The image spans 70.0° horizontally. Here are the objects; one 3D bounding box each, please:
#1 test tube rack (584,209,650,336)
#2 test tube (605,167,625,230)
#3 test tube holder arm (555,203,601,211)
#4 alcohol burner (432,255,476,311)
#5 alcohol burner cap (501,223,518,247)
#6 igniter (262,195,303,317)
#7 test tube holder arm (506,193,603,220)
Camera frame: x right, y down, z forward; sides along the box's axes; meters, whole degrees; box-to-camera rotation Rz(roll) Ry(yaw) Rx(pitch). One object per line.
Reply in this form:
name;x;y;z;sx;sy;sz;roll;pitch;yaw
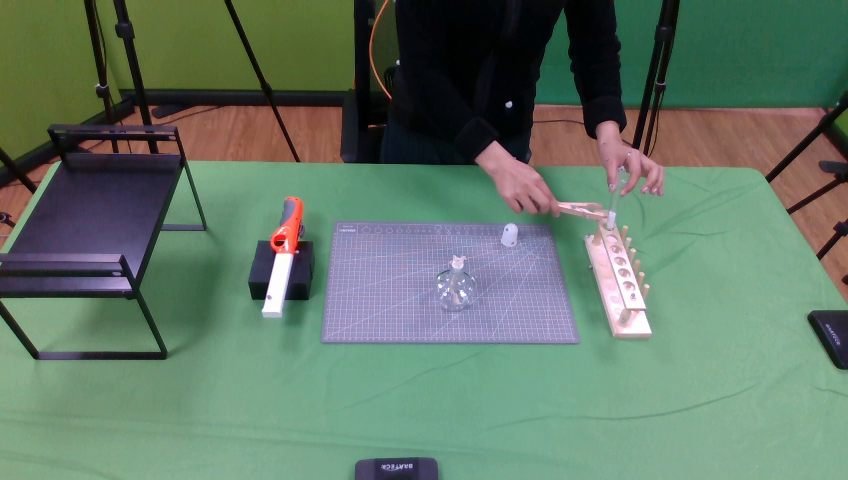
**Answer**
test tube rack;0.366;0.056;1.129;0.067;0.085;0.240;1;46;-3
test tube;0.345;-0.072;1.099;0.017;0.151;0.017;-3;48;4
test tube holder arm;0.282;-0.061;1.114;0.088;0.015;0.010;0;47;-11
alcohol burner;0.055;0.070;1.068;0.078;0.119;0.077;3;45;-3
alcohol burner cap;0.172;-0.013;1.207;0.034;0.048;0.033;1;45;-1
igniter;-0.253;0.020;1.090;0.057;0.025;0.275;0;49;-1
test tube holder arm;0.238;-0.062;1.107;0.178;0.015;0.013;11;45;0
